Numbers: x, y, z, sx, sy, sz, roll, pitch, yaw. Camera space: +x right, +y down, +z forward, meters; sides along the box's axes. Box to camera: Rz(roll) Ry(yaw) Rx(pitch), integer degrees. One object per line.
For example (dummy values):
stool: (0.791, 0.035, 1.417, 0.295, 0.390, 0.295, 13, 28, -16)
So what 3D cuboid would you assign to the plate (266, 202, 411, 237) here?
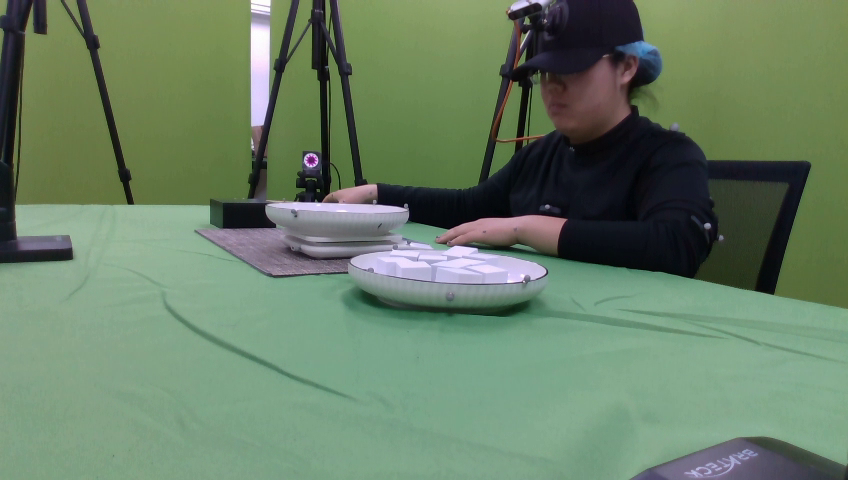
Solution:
plate: (-0.123, -0.030, 0.879, 0.208, 0.039, 0.207, 2, 6, 0)

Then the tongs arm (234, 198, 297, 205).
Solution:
tongs arm: (-0.263, -0.077, 1.462, 0.386, 0.026, 0.050, 3, 7, -9)

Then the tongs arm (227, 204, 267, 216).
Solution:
tongs arm: (-0.248, -0.064, 1.388, 0.389, 0.028, 0.028, 1, 4, -20)

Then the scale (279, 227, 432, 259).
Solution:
scale: (-0.100, 0.001, 0.899, 0.202, 0.031, 0.148, -1, 9, -31)

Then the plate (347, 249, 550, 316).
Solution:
plate: (0.025, 0.042, 0.627, 0.209, 0.038, 0.209, 2, 7, 0)
